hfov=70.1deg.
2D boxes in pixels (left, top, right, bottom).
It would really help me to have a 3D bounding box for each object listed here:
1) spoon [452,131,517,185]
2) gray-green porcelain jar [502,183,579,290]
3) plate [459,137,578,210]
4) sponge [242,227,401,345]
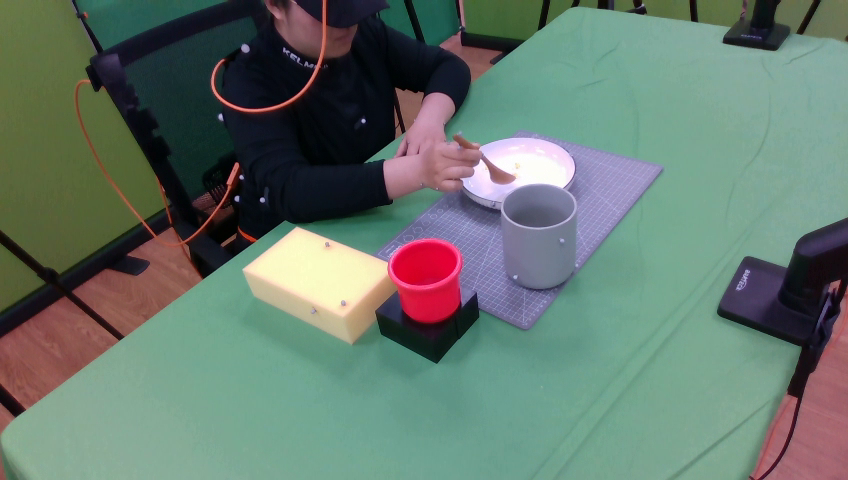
[{"bbox_3d":[0.096,-0.129,0.972,0.041,0.195,0.021,-11,63,32],"label":"spoon"},{"bbox_3d":[0.167,-0.001,0.866,0.106,0.127,0.105,-5,40,5],"label":"gray-green porcelain jar"},{"bbox_3d":[0.166,-0.113,1.069,0.207,0.039,0.206,-5,40,5],"label":"plate"},{"bbox_3d":[-0.154,0.063,0.907,0.205,0.061,0.118,19,47,29],"label":"sponge"}]
